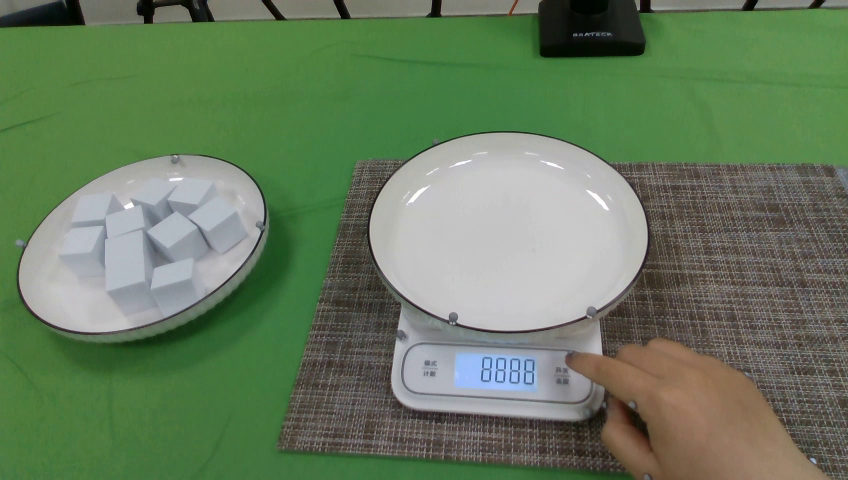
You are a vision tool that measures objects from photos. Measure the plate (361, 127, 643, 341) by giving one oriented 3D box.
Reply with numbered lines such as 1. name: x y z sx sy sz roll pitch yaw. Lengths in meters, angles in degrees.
1. plate: 0.057 -0.007 0.464 0.207 0.039 0.205 -2 49 3

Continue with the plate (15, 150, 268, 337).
1. plate: -0.237 0.001 0.530 0.209 0.038 0.207 -2 48 3

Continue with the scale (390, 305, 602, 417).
1. scale: 0.058 0.036 0.470 0.148 0.032 0.199 2 49 8
